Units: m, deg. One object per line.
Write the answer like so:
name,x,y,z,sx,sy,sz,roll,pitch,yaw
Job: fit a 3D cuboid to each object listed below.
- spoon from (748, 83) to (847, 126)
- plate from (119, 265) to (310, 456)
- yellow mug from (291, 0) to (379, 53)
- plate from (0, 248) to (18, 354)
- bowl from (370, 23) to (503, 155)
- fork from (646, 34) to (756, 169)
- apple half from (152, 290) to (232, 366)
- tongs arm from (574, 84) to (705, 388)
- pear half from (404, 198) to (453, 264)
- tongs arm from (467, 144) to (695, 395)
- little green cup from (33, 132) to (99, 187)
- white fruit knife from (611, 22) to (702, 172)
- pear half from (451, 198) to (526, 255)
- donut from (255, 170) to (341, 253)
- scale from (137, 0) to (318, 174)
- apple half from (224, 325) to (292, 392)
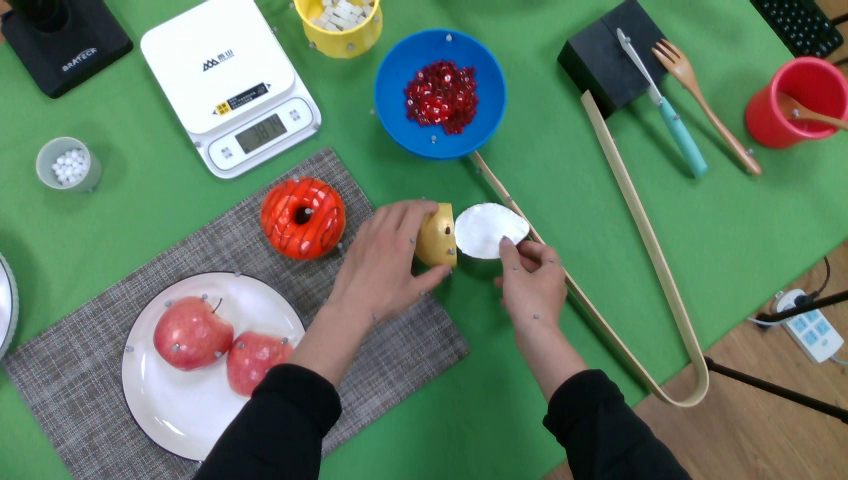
spoon,0.462,-0.142,0.695,0.041,0.022,0.191,-40,42,-7
plate,-0.231,0.133,0.683,0.209,0.038,0.208,0,83,-2
yellow mug,-0.120,-0.291,0.727,0.131,0.064,0.100,22,83,1
plate,-0.558,0.075,0.680,0.208,0.039,0.207,0,83,-2
bowl,0.013,-0.166,0.712,0.151,0.077,0.151,0,84,-3
fork,0.339,-0.165,0.733,0.028,0.018,0.208,-45,102,-9
apple half,-0.261,0.098,0.669,0.074,0.053,0.081,-41,89,-4
tongs arm,0.258,-0.010,0.734,0.028,0.028,0.386,-19,84,-14
pear half,0.007,-0.011,0.678,0.056,0.110,0.076,-9,81,-6
tongs arm,0.184,0.031,0.719,0.051,0.026,0.384,-35,87,-12
little green cup,-0.414,-0.090,0.705,0.061,0.039,0.061,0,83,-2
white fruit knife,0.277,-0.169,0.723,0.016,0.027,0.208,-37,101,-6
pear half,0.077,-0.015,0.721,0.088,0.031,0.070,-4,80,9
donut,-0.146,-0.033,0.703,0.099,0.048,0.099,0,85,0
scale,-0.235,-0.195,0.728,0.148,0.031,0.200,-31,86,-5
apple half,-0.190,0.135,0.680,0.081,0.033,0.081,0,83,-2
